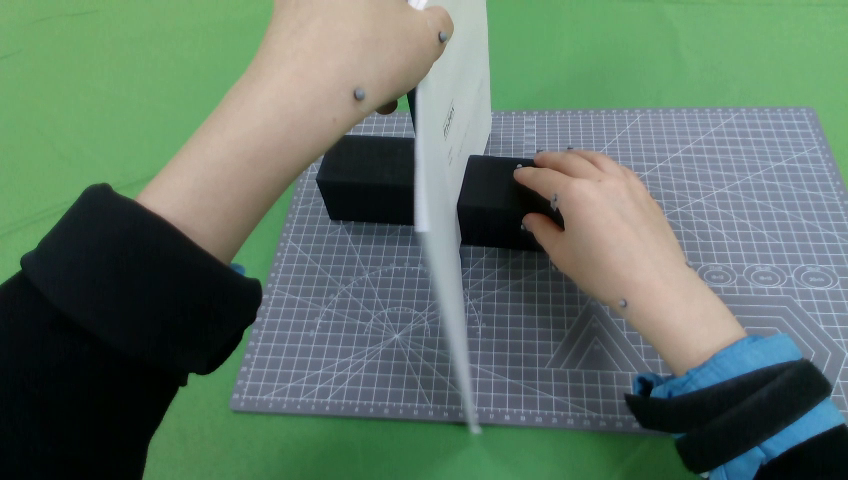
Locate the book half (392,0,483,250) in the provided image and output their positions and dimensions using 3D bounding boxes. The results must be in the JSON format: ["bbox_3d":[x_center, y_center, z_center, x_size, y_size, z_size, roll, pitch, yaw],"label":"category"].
[{"bbox_3d":[0.020,-0.108,0.429,0.016,0.212,0.147,6,54,15],"label":"book half"}]

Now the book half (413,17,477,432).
[{"bbox_3d":[0.014,0.005,0.345,0.007,0.212,0.142,-6,52,5],"label":"book half"}]
